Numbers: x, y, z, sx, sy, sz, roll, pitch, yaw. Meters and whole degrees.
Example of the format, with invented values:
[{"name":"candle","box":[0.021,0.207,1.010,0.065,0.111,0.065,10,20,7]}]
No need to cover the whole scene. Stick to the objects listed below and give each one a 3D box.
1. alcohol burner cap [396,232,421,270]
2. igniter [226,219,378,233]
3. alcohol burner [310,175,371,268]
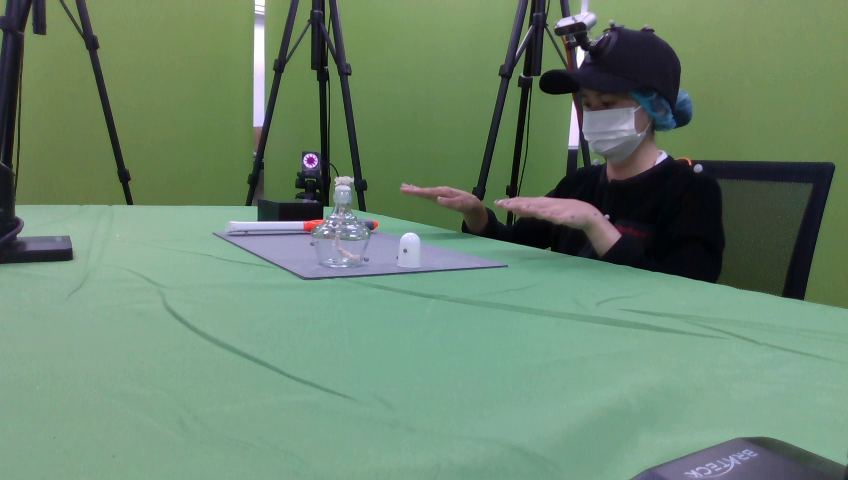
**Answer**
[{"name":"alcohol burner cap","box":[-0.020,0.014,0.795,0.034,0.048,0.034,2,7,0]},{"name":"igniter","box":[-0.213,-0.025,1.092,0.278,0.025,0.057,-2,-2,-32]},{"name":"alcohol burner","box":[-0.107,-0.024,0.778,0.078,0.119,0.078,3,5,0]}]
